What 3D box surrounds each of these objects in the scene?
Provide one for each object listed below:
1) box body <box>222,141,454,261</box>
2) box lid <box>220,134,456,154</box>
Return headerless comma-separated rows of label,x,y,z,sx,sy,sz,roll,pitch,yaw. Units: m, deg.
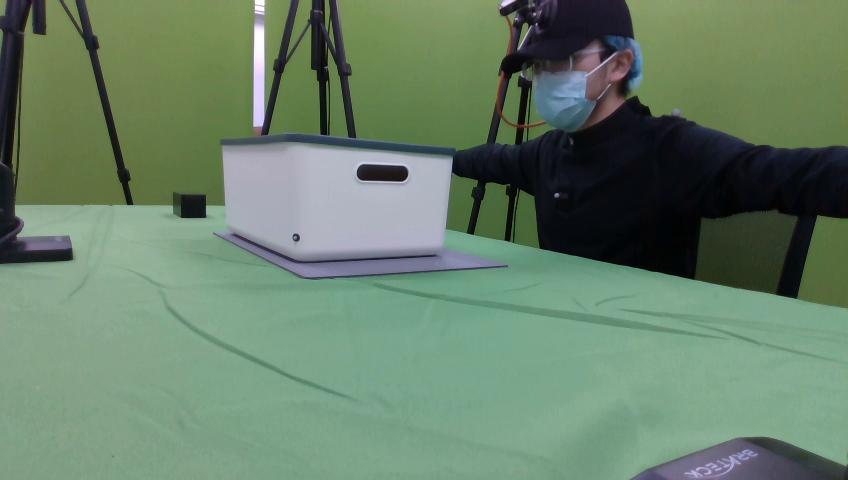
box body,-0.152,-0.074,0.963,0.255,0.160,0.362,-3,9,-33
box lid,-0.148,-0.147,0.951,0.265,0.015,0.369,-2,8,-33
